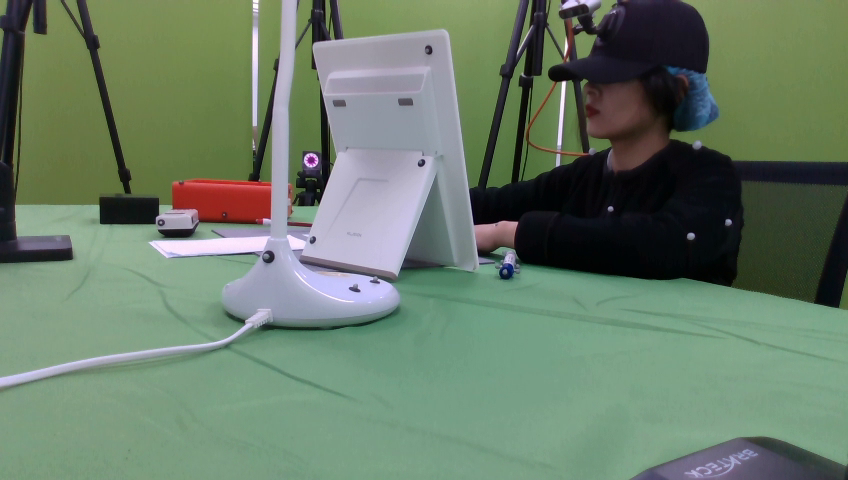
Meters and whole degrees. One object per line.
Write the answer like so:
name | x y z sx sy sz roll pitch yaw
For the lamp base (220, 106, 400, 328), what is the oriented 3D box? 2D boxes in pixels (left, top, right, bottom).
lamp base | -0.101 -0.023 0.531 0.160 0.180 0.179 4 10 10

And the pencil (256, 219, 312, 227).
pencil | -0.213 -0.028 1.130 0.195 0.012 0.012 3 7 -23

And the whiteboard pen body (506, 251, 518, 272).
whiteboard pen body | 0.117 0.032 0.814 0.017 0.017 0.141 4 8 9

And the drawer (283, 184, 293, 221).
drawer | -0.396 -0.085 1.301 0.212 0.073 0.194 1 8 -7

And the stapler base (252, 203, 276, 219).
stapler base | -0.341 -0.065 1.301 0.041 0.024 0.130 15 5 -10

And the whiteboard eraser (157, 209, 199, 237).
whiteboard eraser | -0.411 -0.029 1.016 0.056 0.042 0.112 2 7 -16

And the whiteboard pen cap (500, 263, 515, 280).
whiteboard pen cap | 0.105 0.038 0.758 0.018 0.018 0.033 4 10 10

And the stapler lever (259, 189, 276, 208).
stapler lever | -0.335 -0.090 1.300 0.027 0.040 0.118 15 4 -10

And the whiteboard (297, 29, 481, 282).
whiteboard | -0.075 -0.082 0.741 0.216 0.305 0.144 9 29 37

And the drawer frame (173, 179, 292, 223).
drawer frame | -0.400 -0.086 1.300 0.214 0.082 0.201 1 8 -8
